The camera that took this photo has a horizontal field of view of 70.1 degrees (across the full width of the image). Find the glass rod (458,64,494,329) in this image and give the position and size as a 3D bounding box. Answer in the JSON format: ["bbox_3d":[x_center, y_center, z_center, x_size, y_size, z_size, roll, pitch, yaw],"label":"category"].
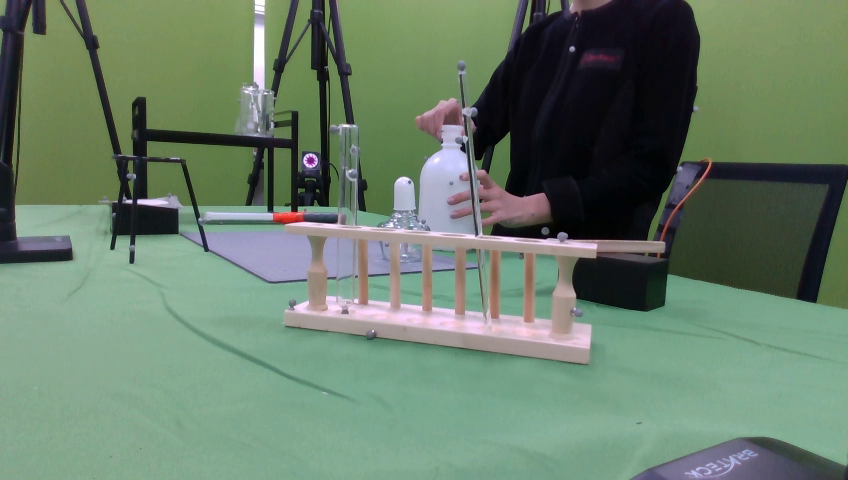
[{"bbox_3d":[0.040,-0.029,0.449,0.008,0.199,0.008,-7,9,1],"label":"glass rod"}]

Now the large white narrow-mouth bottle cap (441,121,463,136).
[{"bbox_3d":[0.046,-0.180,0.982,0.038,0.024,0.037,2,8,0],"label":"large white narrow-mouth bottle cap"}]

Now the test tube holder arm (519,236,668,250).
[{"bbox_3d":[0.186,0.003,0.654,0.179,0.015,0.013,1,12,-17],"label":"test tube holder arm"}]

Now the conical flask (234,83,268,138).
[{"bbox_3d":[-0.399,-0.298,1.395,0.075,0.122,0.075,2,8,0],"label":"conical flask"}]

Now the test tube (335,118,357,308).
[{"bbox_3d":[-0.061,-0.019,0.476,0.017,0.150,0.017,2,11,0],"label":"test tube"}]

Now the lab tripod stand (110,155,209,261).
[{"bbox_3d":[-0.361,-0.046,0.806,0.148,0.131,0.148,2,5,0],"label":"lab tripod stand"}]

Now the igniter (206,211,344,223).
[{"bbox_3d":[-0.302,-0.048,1.249,0.278,0.025,0.057,-2,-2,-27],"label":"igniter"}]

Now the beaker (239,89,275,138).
[{"bbox_3d":[-0.360,-0.273,1.308,0.074,0.100,0.084,0,8,-11],"label":"beaker"}]

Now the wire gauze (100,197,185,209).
[{"bbox_3d":[-0.469,-0.062,1.008,0.126,0.011,0.121,-2,8,-25],"label":"wire gauze"}]

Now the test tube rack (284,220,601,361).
[{"bbox_3d":[0.013,0.032,0.482,0.242,0.085,0.067,4,7,16],"label":"test tube rack"}]

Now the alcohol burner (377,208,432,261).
[{"bbox_3d":[-0.027,-0.031,0.838,0.078,0.119,0.078,0,6,0],"label":"alcohol burner"}]

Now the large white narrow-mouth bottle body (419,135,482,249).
[{"bbox_3d":[0.045,-0.086,0.995,0.102,0.194,0.102,2,8,0],"label":"large white narrow-mouth bottle body"}]

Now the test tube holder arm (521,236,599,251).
[{"bbox_3d":[0.144,0.004,0.635,0.088,0.015,0.010,0,12,-19],"label":"test tube holder arm"}]

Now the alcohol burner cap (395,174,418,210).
[{"bbox_3d":[-0.026,-0.067,0.833,0.034,0.048,0.034,-1,12,1],"label":"alcohol burner cap"}]
